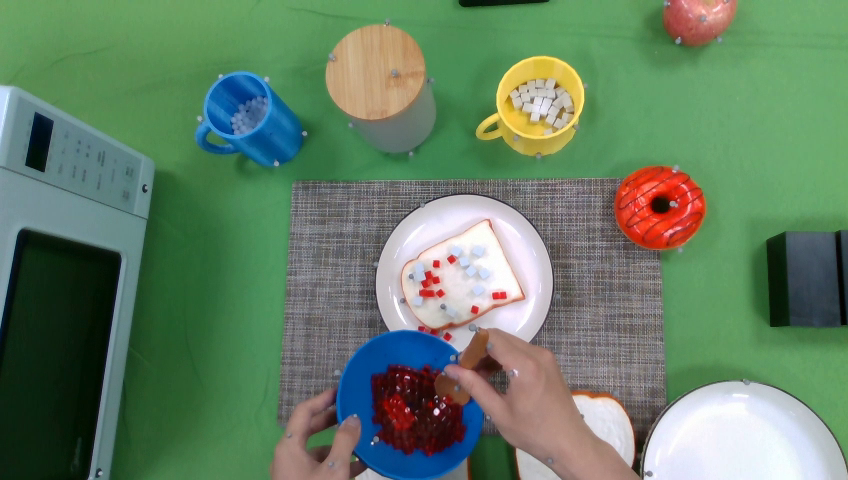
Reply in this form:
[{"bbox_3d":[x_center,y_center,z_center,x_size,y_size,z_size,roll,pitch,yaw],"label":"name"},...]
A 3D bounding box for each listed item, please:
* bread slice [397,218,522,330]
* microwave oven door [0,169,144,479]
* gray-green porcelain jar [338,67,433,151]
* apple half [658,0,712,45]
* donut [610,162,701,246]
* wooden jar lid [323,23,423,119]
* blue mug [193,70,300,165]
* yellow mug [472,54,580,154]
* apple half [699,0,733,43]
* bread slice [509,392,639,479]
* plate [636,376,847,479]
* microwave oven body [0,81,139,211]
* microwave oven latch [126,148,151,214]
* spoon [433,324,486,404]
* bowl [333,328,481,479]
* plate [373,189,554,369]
[{"bbox_3d":[0.036,0.046,0.712,0.131,0.019,0.104,-26,79,1],"label":"bread slice"},{"bbox_3d":[-0.401,0.125,0.635,0.039,0.245,0.354,3,81,8],"label":"microwave oven door"},{"bbox_3d":[-0.046,-0.168,0.713,0.106,0.127,0.105,-1,80,7],"label":"gray-green porcelain jar"},{"bbox_3d":[0.295,-0.256,0.707,0.033,0.081,0.081,-32,78,-3],"label":"apple half"},{"bbox_3d":[0.262,-0.041,0.690,0.099,0.048,0.098,-1,82,7],"label":"donut"},{"bbox_3d":[-0.054,-0.179,0.652,0.108,0.021,0.108,-2,79,8],"label":"wooden jar lid"},{"bbox_3d":[-0.223,-0.140,0.741,0.116,0.106,0.082,-25,78,3],"label":"blue mug"},{"bbox_3d":[0.117,-0.153,0.720,0.131,0.064,0.099,-24,78,4],"label":"yellow mug"},{"bbox_3d":[0.327,-0.277,0.708,0.053,0.075,0.080,-31,74,-4],"label":"apple half"},{"bbox_3d":[0.163,0.218,0.642,0.135,0.018,0.106,-4,77,-13],"label":"bread slice"},{"bbox_3d":[0.330,0.249,0.642,0.209,0.038,0.208,-1,81,8],"label":"plate"},{"bbox_3d":[-0.541,0.075,0.666,0.325,0.261,0.440,3,82,8],"label":"microwave oven body"},{"bbox_3d":[-0.368,-0.075,0.766,0.030,0.029,0.079,6,82,8],"label":"microwave oven latch"},{"bbox_3d":[0.035,0.119,0.562,0.041,0.195,0.021,34,65,11],"label":"spoon"},{"bbox_3d":[-0.024,0.174,0.625,0.152,0.077,0.150,8,58,-13],"label":"bowl"},{"bbox_3d":[0.045,0.045,0.708,0.207,0.039,0.207,-1,81,8],"label":"plate"}]
